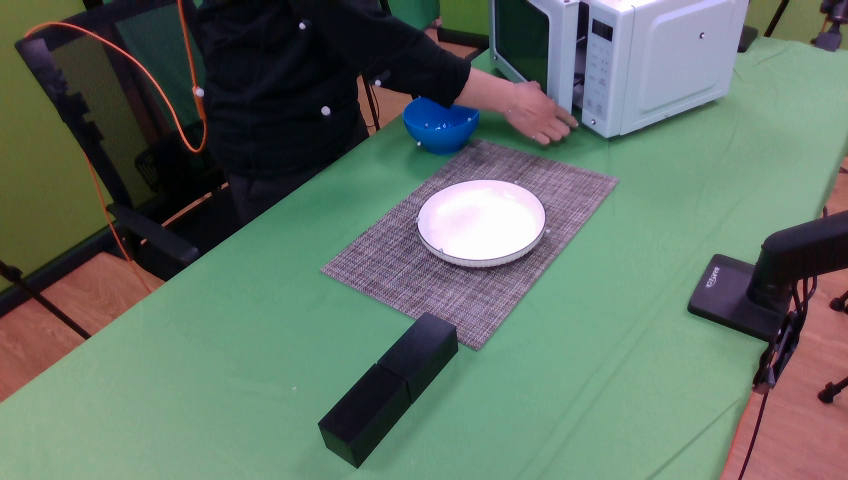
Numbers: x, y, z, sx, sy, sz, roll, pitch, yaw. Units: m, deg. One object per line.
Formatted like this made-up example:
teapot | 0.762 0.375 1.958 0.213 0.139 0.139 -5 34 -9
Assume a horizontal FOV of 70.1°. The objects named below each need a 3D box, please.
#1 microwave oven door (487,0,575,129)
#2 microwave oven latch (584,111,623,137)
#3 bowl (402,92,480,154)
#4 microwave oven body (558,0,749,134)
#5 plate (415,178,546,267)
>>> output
microwave oven door | 0.208 -0.412 1.224 0.039 0.245 0.353 -16 41 -10
microwave oven latch | 0.337 -0.222 1.142 0.030 0.029 0.078 -21 42 -14
bowl | 0.036 -0.220 1.179 0.151 0.077 0.150 -4 40 4
microwave oven body | 0.382 -0.444 1.246 0.327 0.261 0.437 -22 42 -16
plate | 0.091 -0.026 0.970 0.207 0.039 0.206 -4 41 4
